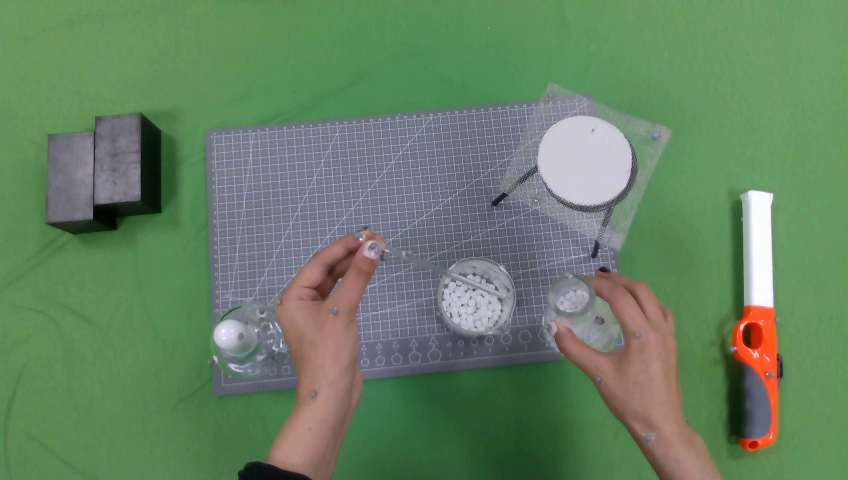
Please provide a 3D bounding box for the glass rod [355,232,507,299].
[{"bbox_3d":[0.015,0.027,0.539,0.008,0.202,0.008,-20,59,38],"label":"glass rod"}]

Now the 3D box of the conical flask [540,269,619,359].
[{"bbox_3d":[0.137,0.062,0.549,0.075,0.123,0.075,-6,69,16],"label":"conical flask"}]

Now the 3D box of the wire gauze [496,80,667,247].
[{"bbox_3d":[0.145,-0.074,0.555,0.125,0.011,0.121,26,82,5],"label":"wire gauze"}]

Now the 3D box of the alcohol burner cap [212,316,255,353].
[{"bbox_3d":[-0.179,0.086,0.565,0.034,0.048,0.033,1,72,-1],"label":"alcohol burner cap"}]

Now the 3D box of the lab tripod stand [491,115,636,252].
[{"bbox_3d":[0.148,-0.059,0.621,0.148,0.132,0.148,0,80,1],"label":"lab tripod stand"}]

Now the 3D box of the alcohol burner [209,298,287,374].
[{"bbox_3d":[-0.179,0.095,0.600,0.078,0.119,0.077,0,80,1],"label":"alcohol burner"}]

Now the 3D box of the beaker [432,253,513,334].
[{"bbox_3d":[0.049,0.060,0.615,0.074,0.100,0.083,-41,82,-7],"label":"beaker"}]

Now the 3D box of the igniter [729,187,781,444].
[{"bbox_3d":[0.355,0.078,0.652,0.057,0.025,0.275,7,79,-9],"label":"igniter"}]
